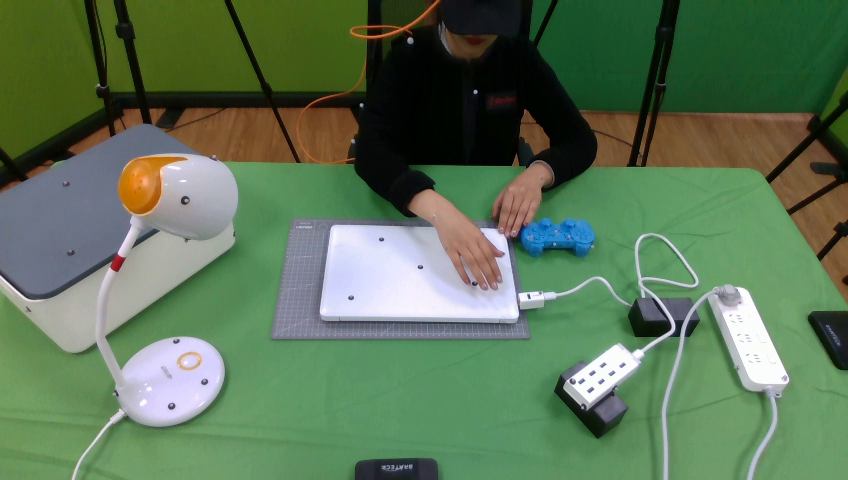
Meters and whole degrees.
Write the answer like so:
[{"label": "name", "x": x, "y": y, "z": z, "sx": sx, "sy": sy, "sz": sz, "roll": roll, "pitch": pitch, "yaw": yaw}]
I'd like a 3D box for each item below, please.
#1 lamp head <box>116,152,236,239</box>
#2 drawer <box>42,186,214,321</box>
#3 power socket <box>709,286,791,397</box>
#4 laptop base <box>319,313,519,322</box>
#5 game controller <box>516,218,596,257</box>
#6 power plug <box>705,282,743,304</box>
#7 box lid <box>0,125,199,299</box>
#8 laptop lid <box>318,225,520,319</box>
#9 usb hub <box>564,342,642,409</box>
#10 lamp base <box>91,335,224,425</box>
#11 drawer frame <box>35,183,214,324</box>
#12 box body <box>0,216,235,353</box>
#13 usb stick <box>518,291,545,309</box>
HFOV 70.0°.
[{"label": "lamp head", "x": -0.315, "y": -0.057, "z": 0.748, "sx": 0.112, "sy": 0.112, "sz": 0.123, "roll": 26, "pitch": 10, "yaw": 20}, {"label": "drawer", "x": -0.529, "y": 0.018, "z": 1.097, "sx": 0.194, "sy": 0.073, "sz": 0.211, "roll": 29, "pitch": 53, "yaw": 20}, {"label": "power socket", "x": 0.568, "y": 0.167, "z": 1.064, "sx": 0.072, "sy": 0.033, "sz": 0.225, "roll": 2, "pitch": 46, "yaw": -1}, {"label": "laptop base", "x": -0.009, "y": 0.062, "z": 1.137, "sx": 0.354, "sy": 0.023, "sz": 0.234, "roll": 1, "pitch": 42, "yaw": -3}, {"label": "game controller", "x": 0.267, "y": -0.014, "z": 1.212, "sx": 0.155, "sy": 0.052, "sz": 0.096, "roll": 0, "pitch": 50, "yaw": -3}, {"label": "power plug", "x": 0.539, "y": 0.097, "z": 1.098, "sx": 0.072, "sy": 0.053, "sz": 0.035, "roll": 8, "pitch": 47, "yaw": 8}, {"label": "box lid", "x": -0.540, "y": -0.068, "z": 1.016, "sx": 0.262, "sy": 0.015, "sz": 0.371, "roll": 30, "pitch": 51, "yaw": 23}, {"label": "laptop lid", "x": -0.009, "y": 0.053, "z": 1.130, "sx": 0.357, "sy": 0.013, "sz": 0.240, "roll": 3, "pitch": 43, "yaw": -2}, {"label": "usb hub", "x": 0.278, "y": 0.208, "z": 0.942, "sx": 0.125, "sy": 0.025, "sz": 0.049, "roll": -27, "pitch": 52, "yaw": -28}, {"label": "lamp base", "x": -0.401, "y": 0.171, "z": 0.892, "sx": 0.160, "sy": 0.181, "sz": 0.179, "roll": 30, "pitch": 53, "yaw": 23}, {"label": "drawer frame", "x": -0.531, "y": 0.018, "z": 1.092, "sx": 0.201, "sy": 0.083, "sz": 0.213, "roll": 29, "pitch": 52, "yaw": 21}, {"label": "box body", "x": -0.550, "y": -0.006, "z": 1.068, "sx": 0.253, "sy": 0.161, "sz": 0.363, "roll": 30, "pitch": 51, "yaw": 23}, {"label": "usb stick", "x": 0.186, "y": 0.108, "z": 1.086, "sx": 0.059, "sy": 0.027, "sz": 0.021, "roll": -8, "pitch": 47, "yaw": 1}]
